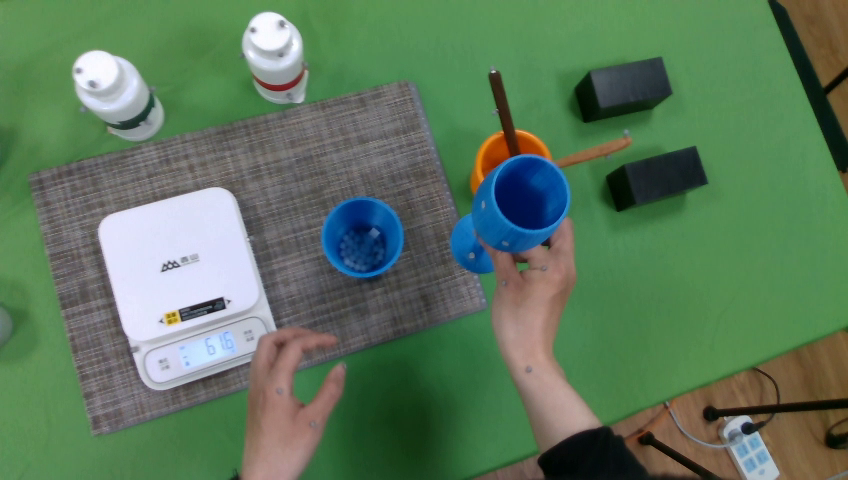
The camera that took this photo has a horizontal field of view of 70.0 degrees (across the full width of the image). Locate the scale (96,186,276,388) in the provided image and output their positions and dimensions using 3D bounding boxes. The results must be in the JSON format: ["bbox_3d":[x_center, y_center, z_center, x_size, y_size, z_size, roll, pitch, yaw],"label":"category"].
[{"bbox_3d":[-0.262,0.049,0.670,0.149,0.031,0.200,-18,85,-10],"label":"scale"}]

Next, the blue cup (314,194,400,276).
[{"bbox_3d":[-0.073,0.002,0.670,0.093,0.100,0.092,1,81,-7],"label":"blue cup"}]

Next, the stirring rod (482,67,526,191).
[{"bbox_3d":[0.093,-0.120,0.691,0.014,0.178,0.005,-4,47,20],"label":"stirring rod"}]

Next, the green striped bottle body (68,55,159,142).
[{"bbox_3d":[-0.333,-0.154,0.650,0.063,0.119,0.063,1,80,-8],"label":"green striped bottle body"}]

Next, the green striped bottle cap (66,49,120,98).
[{"bbox_3d":[-0.326,-0.164,0.596,0.044,0.020,0.044,1,81,-6],"label":"green striped bottle cap"}]

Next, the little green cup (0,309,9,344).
[{"bbox_3d":[-0.471,0.091,0.633,0.062,0.038,0.061,2,81,-9],"label":"little green cup"}]

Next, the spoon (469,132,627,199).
[{"bbox_3d":[0.136,-0.086,0.694,0.022,0.193,0.041,-20,94,-54],"label":"spoon"}]

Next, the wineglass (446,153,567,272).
[{"bbox_3d":[0.066,-0.017,0.536,0.074,0.172,0.073,2,77,-8],"label":"wineglass"}]

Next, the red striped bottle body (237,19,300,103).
[{"bbox_3d":[-0.174,-0.205,0.682,0.063,0.120,0.063,1,80,-8],"label":"red striped bottle body"}]

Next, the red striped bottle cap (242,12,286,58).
[{"bbox_3d":[-0.166,-0.213,0.629,0.044,0.018,0.044,1,78,-7],"label":"red striped bottle cap"}]
